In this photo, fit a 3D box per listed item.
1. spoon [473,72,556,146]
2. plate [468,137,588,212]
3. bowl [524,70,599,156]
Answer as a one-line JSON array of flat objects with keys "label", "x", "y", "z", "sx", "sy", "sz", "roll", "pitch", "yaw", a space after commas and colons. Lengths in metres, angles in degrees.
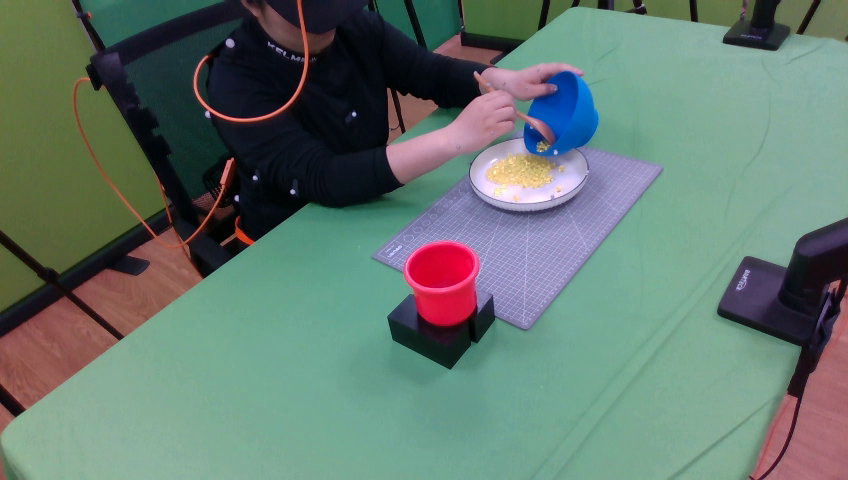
[{"label": "spoon", "x": 0.158, "y": -0.225, "z": 1.040, "sx": 0.195, "sy": 0.021, "sz": 0.041, "roll": 33, "pitch": 40, "yaw": -15}, {"label": "plate", "x": 0.182, "y": -0.111, "z": 1.064, "sx": 0.207, "sy": 0.039, "sz": 0.206, "roll": -5, "pitch": 40, "yaw": 5}, {"label": "bowl", "x": 0.249, "y": -0.208, "z": 1.050, "sx": 0.077, "sy": 0.151, "sz": 0.150, "roll": 17, "pitch": 34, "yaw": -24}]
